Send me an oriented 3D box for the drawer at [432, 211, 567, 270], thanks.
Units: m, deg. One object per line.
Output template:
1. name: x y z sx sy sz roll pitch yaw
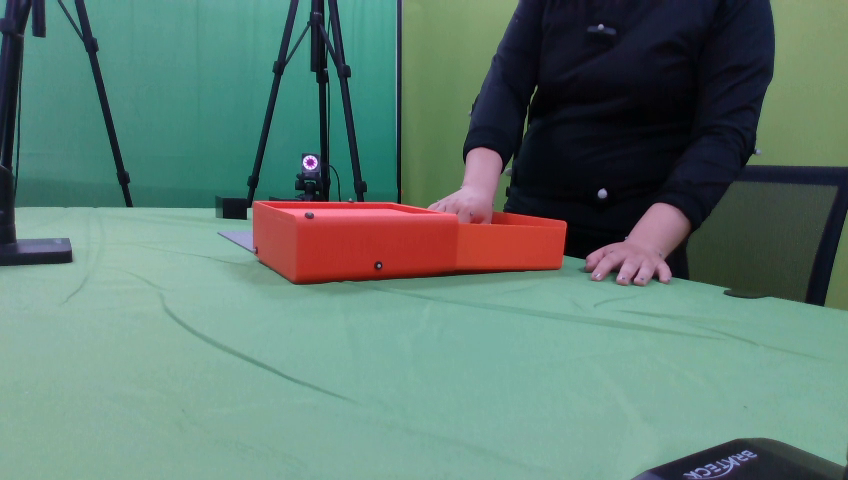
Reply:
1. drawer: 0.063 -0.005 0.878 0.213 0.073 0.193 1 7 -30

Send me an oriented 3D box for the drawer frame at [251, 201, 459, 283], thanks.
1. drawer frame: -0.095 -0.005 0.788 0.215 0.082 0.200 -2 10 -30

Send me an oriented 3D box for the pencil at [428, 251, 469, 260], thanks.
1. pencil: 0.040 0.022 0.878 0.012 0.012 0.195 5 0 19
